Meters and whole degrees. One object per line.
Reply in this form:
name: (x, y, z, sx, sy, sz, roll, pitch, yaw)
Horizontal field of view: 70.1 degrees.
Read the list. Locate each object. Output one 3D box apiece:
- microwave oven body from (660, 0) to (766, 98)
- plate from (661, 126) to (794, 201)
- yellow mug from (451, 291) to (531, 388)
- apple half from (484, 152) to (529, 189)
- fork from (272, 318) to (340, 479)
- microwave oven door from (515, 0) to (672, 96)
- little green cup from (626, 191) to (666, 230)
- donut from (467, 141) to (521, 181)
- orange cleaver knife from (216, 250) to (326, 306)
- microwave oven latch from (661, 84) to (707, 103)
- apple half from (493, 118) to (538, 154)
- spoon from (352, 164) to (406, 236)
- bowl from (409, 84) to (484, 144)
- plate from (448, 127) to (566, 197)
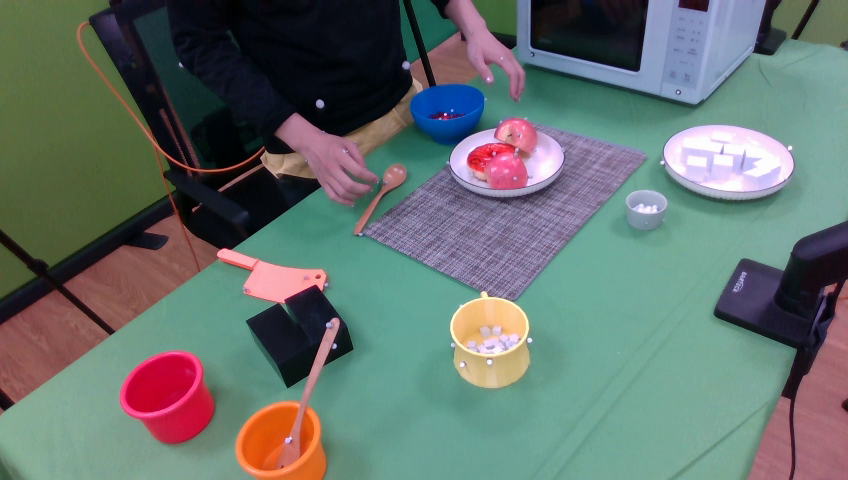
microwave oven body: (0.472, -0.513, 1.317, 0.438, 0.261, 0.327, 26, 51, 34)
plate: (0.513, -0.128, 1.035, 0.207, 0.039, 0.206, -4, 40, 4)
yellow mug: (0.085, 0.120, 0.786, 0.100, 0.064, 0.130, -7, 39, 1)
apple half: (0.144, -0.117, 1.032, 0.081, 0.033, 0.081, 2, 78, -11)
fork: (-0.131, 0.186, 0.676, 0.028, 0.019, 0.207, 17, 90, 28)
microwave oven door: (0.343, -0.454, 1.259, 0.353, 0.245, 0.039, 26, 51, 33)
little green cup: (0.352, -0.046, 0.963, 0.061, 0.039, 0.061, -4, 40, 4)
donut: (0.127, -0.144, 1.090, 0.099, 0.048, 0.098, -5, 39, 5)
orange cleaver knife: (-0.248, 0.058, 0.945, 0.210, 0.012, 0.077, 13, 49, 20)
microwave oven latch: (0.517, -0.296, 1.204, 0.078, 0.029, 0.030, 27, 52, 35)
apple half: (0.175, -0.196, 1.114, 0.080, 0.053, 0.075, 29, 12, 34)
spoon: (-0.083, -0.075, 1.074, 0.041, 0.022, 0.194, 21, 46, 10)
bowl: (0.048, -0.245, 1.214, 0.151, 0.077, 0.150, -4, 40, 4)
plate: (0.150, -0.138, 1.096, 0.209, 0.038, 0.208, -4, 40, 4)
